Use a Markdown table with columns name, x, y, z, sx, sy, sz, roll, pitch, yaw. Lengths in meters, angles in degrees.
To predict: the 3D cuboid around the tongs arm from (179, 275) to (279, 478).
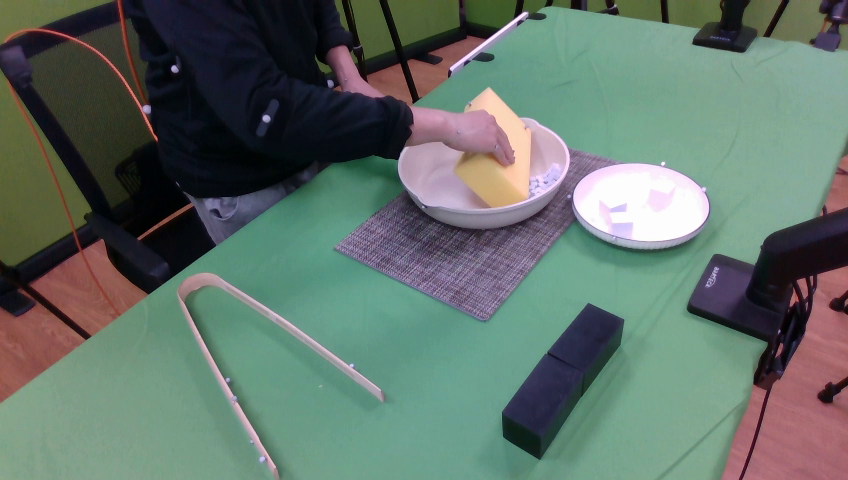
| name | x | y | z | sx | sy | sz | roll | pitch | yaw |
| --- | --- | --- | --- | --- | --- | --- | --- | --- | --- |
| tongs arm | -0.259 | 0.161 | 0.807 | 0.051 | 0.026 | 0.381 | -29 | 44 | -25 |

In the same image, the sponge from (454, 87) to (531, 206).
| name | x | y | z | sx | sy | sz | roll | pitch | yaw |
| --- | --- | --- | --- | --- | --- | --- | --- | --- | --- |
| sponge | 0.122 | -0.155 | 1.025 | 0.060 | 0.119 | 0.206 | -35 | 29 | 33 |

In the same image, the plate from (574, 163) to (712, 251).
| name | x | y | z | sx | sy | sz | roll | pitch | yaw |
| --- | --- | --- | --- | --- | --- | --- | --- | --- | --- |
| plate | 0.344 | -0.050 | 0.966 | 0.207 | 0.039 | 0.206 | -4 | 40 | 4 |

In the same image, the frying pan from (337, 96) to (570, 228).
| name | x | y | z | sx | sy | sz | roll | pitch | yaw |
| --- | --- | --- | --- | --- | --- | --- | --- | --- | --- |
| frying pan | 0.023 | -0.167 | 1.090 | 0.484 | 0.103 | 0.308 | 32 | 53 | 26 |

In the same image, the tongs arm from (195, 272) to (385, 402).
| name | x | y | z | sx | sy | sz | roll | pitch | yaw |
| --- | --- | --- | --- | --- | --- | --- | --- | --- | --- |
| tongs arm | -0.198 | 0.125 | 0.847 | 0.384 | 0.028 | 0.028 | 25 | 52 | 32 |
